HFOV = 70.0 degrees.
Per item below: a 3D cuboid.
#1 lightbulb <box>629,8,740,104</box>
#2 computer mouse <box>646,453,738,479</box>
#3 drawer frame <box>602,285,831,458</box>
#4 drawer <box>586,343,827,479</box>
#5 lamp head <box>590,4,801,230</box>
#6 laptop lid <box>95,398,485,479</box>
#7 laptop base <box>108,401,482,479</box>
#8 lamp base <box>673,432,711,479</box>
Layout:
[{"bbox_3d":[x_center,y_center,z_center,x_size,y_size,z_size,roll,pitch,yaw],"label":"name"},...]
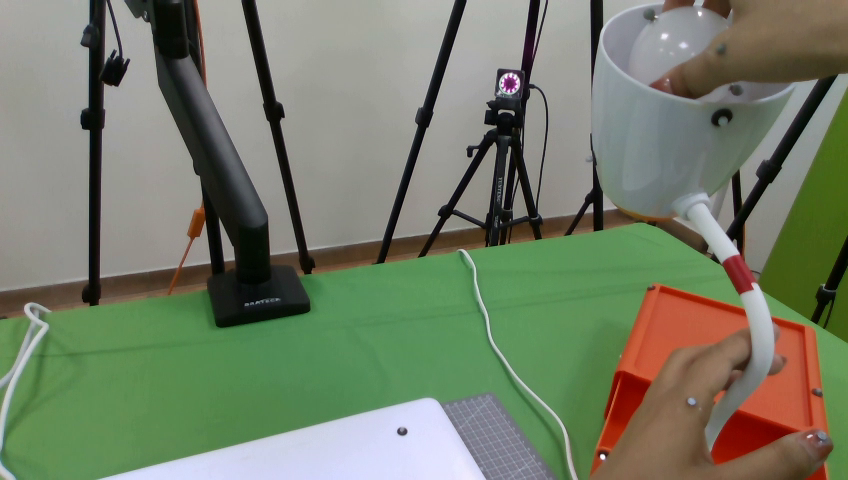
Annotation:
[{"bbox_3d":[0.152,-0.087,0.368,0.059,0.109,0.059,-5,52,6],"label":"lightbulb"},{"bbox_3d":[0.257,0.235,0.552,0.117,0.041,0.062,16,28,13],"label":"computer mouse"},{"bbox_3d":[0.328,0.153,0.688,0.200,0.083,0.213,16,28,22],"label":"drawer frame"},{"bbox_3d":[0.278,0.198,0.598,0.193,0.074,0.211,15,28,21],"label":"drawer"},{"bbox_3d":[0.157,-0.067,0.383,0.112,0.124,0.111,-1,42,2],"label":"lamp head"},{"bbox_3d":[-0.104,0.243,0.484,0.358,0.013,0.239,-7,31,-22],"label":"laptop lid"},{"bbox_3d":[-0.106,0.252,0.492,0.356,0.023,0.233,-8,33,-23],"label":"laptop base"},{"bbox_3d":[0.172,0.231,0.397,0.161,0.181,0.177,2,25,-7],"label":"lamp base"}]
